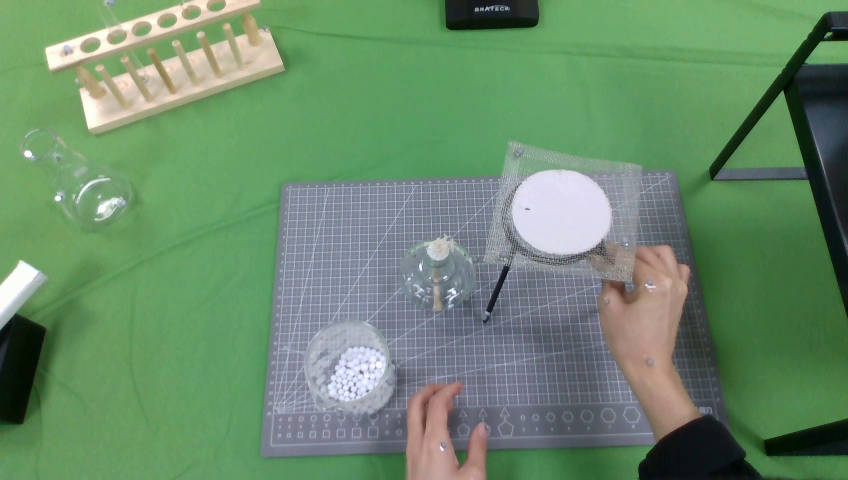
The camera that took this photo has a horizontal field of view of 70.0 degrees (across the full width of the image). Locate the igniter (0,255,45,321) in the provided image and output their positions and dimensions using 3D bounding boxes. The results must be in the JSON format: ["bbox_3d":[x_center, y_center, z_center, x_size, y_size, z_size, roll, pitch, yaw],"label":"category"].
[{"bbox_3d":[-0.459,0.130,0.554,0.057,0.025,0.275,25,69,21],"label":"igniter"}]

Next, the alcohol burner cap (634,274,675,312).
[{"bbox_3d":[0.236,0.051,0.614,0.034,0.048,0.033,0,67,1],"label":"alcohol burner cap"}]

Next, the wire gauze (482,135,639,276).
[{"bbox_3d":[0.120,-0.032,0.521,0.121,0.011,0.124,11,64,6],"label":"wire gauze"}]

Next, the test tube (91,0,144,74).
[{"bbox_3d":[-0.347,-0.243,0.674,0.017,0.151,0.017,0,61,0],"label":"test tube"}]

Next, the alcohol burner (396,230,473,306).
[{"bbox_3d":[0.010,0.021,0.592,0.078,0.120,0.077,0,66,0],"label":"alcohol burner"}]

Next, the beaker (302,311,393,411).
[{"bbox_3d":[-0.068,0.119,0.561,0.073,0.101,0.083,27,70,13],"label":"beaker"}]

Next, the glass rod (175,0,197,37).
[{"bbox_3d":[-0.282,-0.281,0.671,0.008,0.201,0.008,-3,61,7],"label":"glass rod"}]

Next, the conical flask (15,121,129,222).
[{"bbox_3d":[-0.374,-0.076,0.639,0.075,0.123,0.075,0,66,2],"label":"conical flask"}]

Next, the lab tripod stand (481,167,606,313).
[{"bbox_3d":[0.116,0.004,0.578,0.148,0.132,0.147,0,61,1],"label":"lab tripod stand"}]

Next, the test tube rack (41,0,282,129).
[{"bbox_3d":[-0.303,-0.221,0.718,0.242,0.086,0.066,-22,68,-8],"label":"test tube rack"}]
